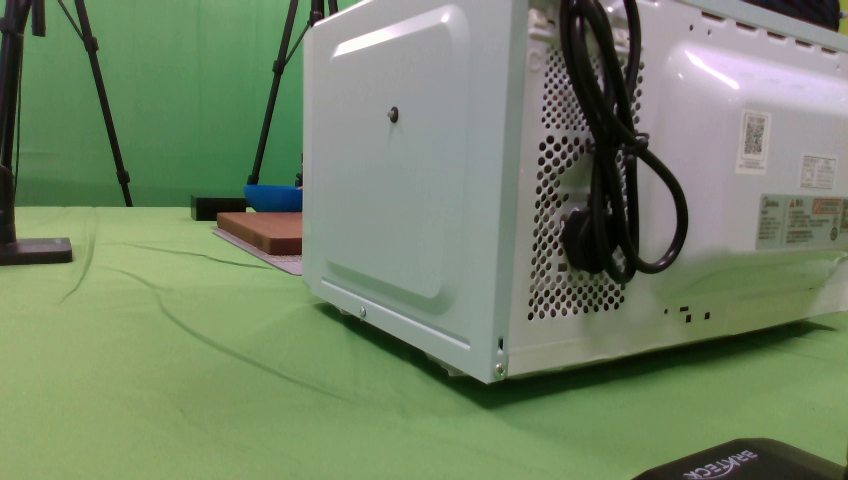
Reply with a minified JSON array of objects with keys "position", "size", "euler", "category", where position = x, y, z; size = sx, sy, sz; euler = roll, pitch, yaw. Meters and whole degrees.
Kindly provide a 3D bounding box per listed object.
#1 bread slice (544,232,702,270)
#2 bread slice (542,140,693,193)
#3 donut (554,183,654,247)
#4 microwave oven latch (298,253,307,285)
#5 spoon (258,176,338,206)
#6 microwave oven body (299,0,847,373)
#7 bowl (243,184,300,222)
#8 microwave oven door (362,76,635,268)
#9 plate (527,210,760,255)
[{"position":[0.200,0.012,0.590],"size":[0.105,0.019,0.131],"euler":[10,-11,-28],"category":"bread slice"},{"position":[0.201,-0.074,0.613],"size":[0.133,0.018,0.107],"euler":[24,15,35],"category":"bread slice"},{"position":[0.181,-0.027,0.613],"size":[0.099,0.048,0.099],"euler":[13,-13,3],"category":"donut"},{"position":[-0.081,0.027,0.582],"size":[0.079,0.029,0.030],"euler":[-1,7,-32],"category":"microwave oven latch"},{"position":[-0.279,-0.112,1.356],"size":[0.194,0.021,0.041],"euler":[-28,18,-27],"category":"spoon"},{"position":[0.152,-0.055,0.543],"size":[0.444,0.260,0.324],"euler":[-2,7,-33],"category":"microwave oven body"},{"position":[-0.321,-0.081,1.334],"size":[0.151,0.077,0.151],"euler":[3,7,0],"category":"bowl"},{"position":[0.090,-0.097,0.820],"size":[0.355,0.243,0.039],"euler":[4,8,14],"category":"microwave oven door"},{"position":[0.204,-0.009,0.580],"size":[0.208,0.039,0.207],"euler":[0,3,0],"category":"plate"}]
